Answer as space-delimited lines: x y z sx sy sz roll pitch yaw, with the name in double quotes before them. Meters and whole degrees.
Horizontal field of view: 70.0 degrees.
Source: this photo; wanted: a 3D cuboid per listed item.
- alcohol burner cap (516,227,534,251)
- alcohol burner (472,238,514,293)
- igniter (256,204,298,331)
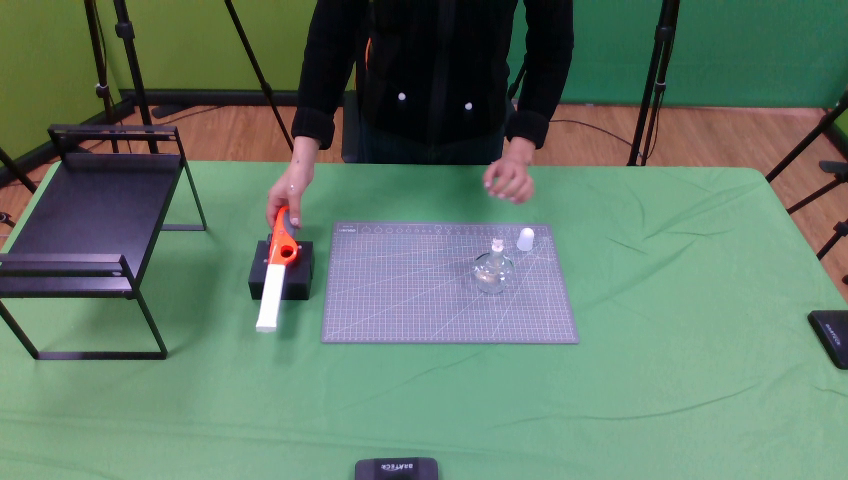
"alcohol burner cap" 0.202 -0.005 1.202 0.034 0.048 0.033 2 47 -2
"alcohol burner" 0.128 0.041 1.101 0.078 0.120 0.077 1 47 -1
"igniter" -0.258 0.039 1.072 0.057 0.025 0.275 5 50 -7
